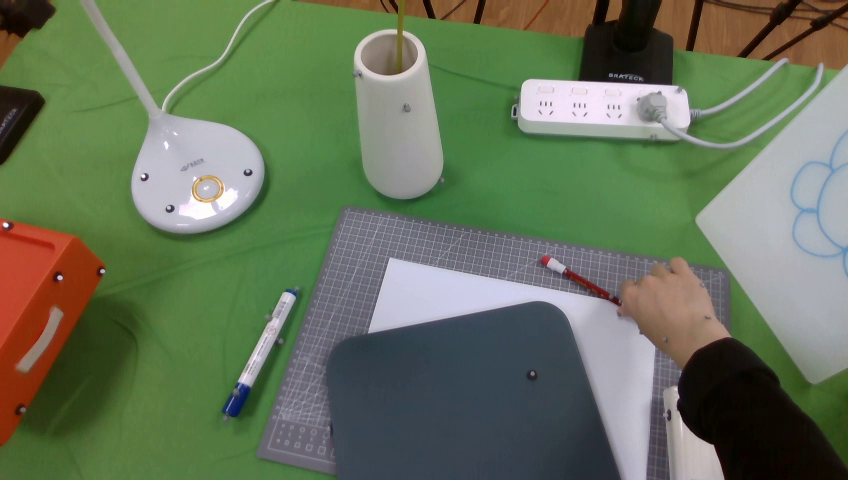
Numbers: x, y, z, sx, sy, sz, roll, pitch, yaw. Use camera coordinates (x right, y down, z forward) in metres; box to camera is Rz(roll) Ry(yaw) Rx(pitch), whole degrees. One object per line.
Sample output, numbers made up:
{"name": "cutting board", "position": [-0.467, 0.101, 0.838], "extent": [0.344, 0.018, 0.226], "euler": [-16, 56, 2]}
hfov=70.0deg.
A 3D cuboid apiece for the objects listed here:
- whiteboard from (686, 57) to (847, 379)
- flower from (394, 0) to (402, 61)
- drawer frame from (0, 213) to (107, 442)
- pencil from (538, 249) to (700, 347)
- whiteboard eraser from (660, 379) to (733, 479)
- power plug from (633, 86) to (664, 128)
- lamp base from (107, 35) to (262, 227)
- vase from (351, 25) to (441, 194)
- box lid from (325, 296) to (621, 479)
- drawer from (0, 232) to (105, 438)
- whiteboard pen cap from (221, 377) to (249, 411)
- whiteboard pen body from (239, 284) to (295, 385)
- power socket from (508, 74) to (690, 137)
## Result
{"name": "whiteboard", "position": [0.449, -0.040, 0.573], "extent": [0.144, 0.307, 0.215], "euler": [-10, 59, -24]}
{"name": "flower", "position": [-0.026, -0.191, 0.605], "extent": [0.038, 0.365, 0.043], "euler": [-1, 43, -6]}
{"name": "drawer frame", "position": [-0.468, 0.068, 0.593], "extent": [0.213, 0.083, 0.200], "euler": [13, 63, 7]}
{"name": "pencil", "position": [0.209, 0.062, 0.658], "extent": [0.193, 0.012, 0.012], "euler": [32, 67, 16]}
{"name": "whiteboard eraser", "position": [0.254, 0.189, 0.568], "extent": [0.055, 0.042, 0.112], "euler": [6, 62, 3]}
{"name": "power plug", "position": [0.270, -0.154, 0.736], "extent": [0.035, 0.053, 0.072], "euler": [14, 64, 10]}
{"name": "lamp base", "position": [-0.292, -0.130, 0.685], "extent": [0.160, 0.182, 0.177], "euler": [-40, 64, -18]}
{"name": "vase", "position": [-0.033, -0.137, 0.669], "extent": [0.098, 0.201, 0.097], "euler": [-2, 61, 3]}
{"name": "box lid", "position": [0.053, 0.236, 0.570], "extent": [0.263, 0.015, 0.368], "euler": [-11, 63, -4]}
{"name": "drawer", "position": [-0.462, 0.067, 0.591], "extent": [0.211, 0.074, 0.193], "euler": [12, 64, 9]}
{"name": "whiteboard pen cap", "position": [-0.190, 0.155, 0.612], "extent": [0.018, 0.018, 0.033], "euler": [15, 57, 10]}
{"name": "whiteboard pen body", "position": [-0.171, 0.107, 0.641], "extent": [0.017, 0.017, 0.140], "euler": [14, 59, 10]}
{"name": "power socket", "position": [0.223, -0.172, 0.774], "extent": [0.226, 0.033, 0.071], "euler": [5, 63, 4]}
